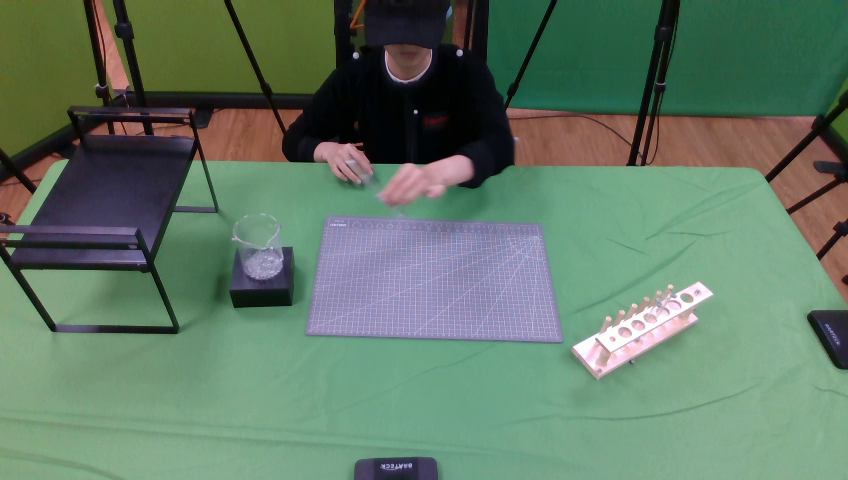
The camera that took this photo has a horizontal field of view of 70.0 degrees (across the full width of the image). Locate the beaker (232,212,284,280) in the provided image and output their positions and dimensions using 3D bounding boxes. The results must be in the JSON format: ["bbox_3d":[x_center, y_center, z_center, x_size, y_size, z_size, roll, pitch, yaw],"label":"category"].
[{"bbox_3d":[-0.280,0.016,1.037,0.074,0.101,0.083,-18,50,-20],"label":"beaker"}]

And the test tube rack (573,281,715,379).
[{"bbox_3d":[0.378,0.140,1.038,0.242,0.085,0.066,-22,51,-23],"label":"test tube rack"}]

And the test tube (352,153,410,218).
[{"bbox_3d":[-0.070,-0.088,1.018,0.017,0.151,0.017,-26,36,21],"label":"test tube"}]

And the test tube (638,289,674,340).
[{"bbox_3d":[0.374,0.124,0.983,0.017,0.151,0.017,0,54,0],"label":"test tube"}]
